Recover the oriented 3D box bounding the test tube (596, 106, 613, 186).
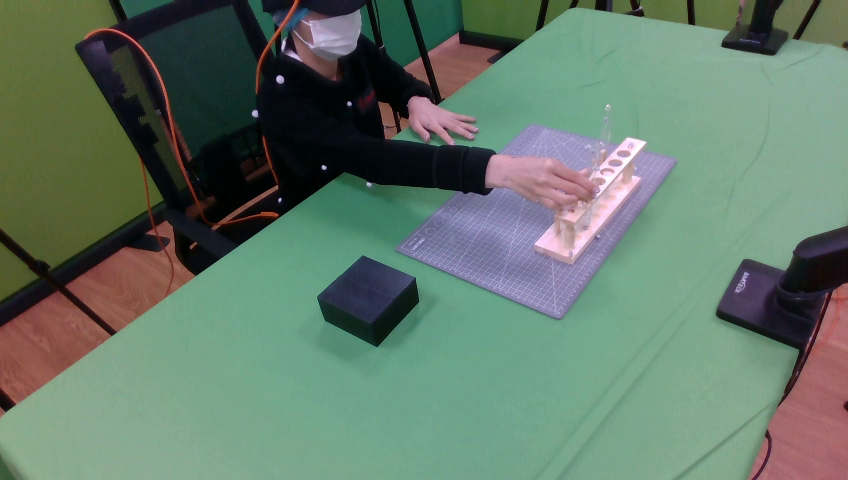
[{"bbox_3d":[0.294,-0.150,0.984,0.017,0.151,0.017,-5,40,4],"label":"test tube"}]

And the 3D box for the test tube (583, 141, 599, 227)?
[{"bbox_3d":[0.248,-0.080,0.899,0.017,0.151,0.017,-5,39,5],"label":"test tube"}]

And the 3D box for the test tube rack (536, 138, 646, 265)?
[{"bbox_3d":[0.268,-0.071,0.964,0.066,0.085,0.243,23,49,32],"label":"test tube rack"}]
